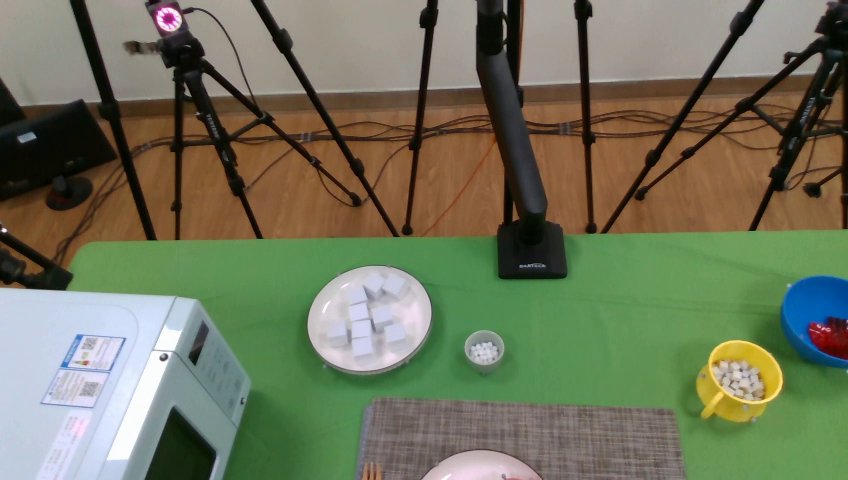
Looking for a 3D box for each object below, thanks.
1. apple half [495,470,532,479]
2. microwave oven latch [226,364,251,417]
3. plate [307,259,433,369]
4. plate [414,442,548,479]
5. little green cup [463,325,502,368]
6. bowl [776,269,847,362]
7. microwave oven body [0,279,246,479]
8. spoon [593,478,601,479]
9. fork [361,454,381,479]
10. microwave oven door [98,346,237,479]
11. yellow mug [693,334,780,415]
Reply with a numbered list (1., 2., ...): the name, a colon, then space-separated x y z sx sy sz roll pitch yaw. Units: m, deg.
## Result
1. apple half: 0.127 0.325 0.790 0.081 0.033 0.081 15 15 -4
2. microwave oven latch: -0.287 0.226 0.919 0.030 0.030 0.078 4 53 7
3. plate: -0.088 0.124 1.006 0.207 0.039 0.205 -3 52 4
4. plate: 0.076 0.371 0.792 0.209 0.038 0.207 -3 52 4
5. little green cup: 0.093 0.170 0.953 0.061 0.039 0.061 -3 52 4
6. bowl: 0.604 0.126 0.915 0.151 0.077 0.150 -3 53 4
7. microwave oven body: -0.461 0.300 0.753 0.326 0.262 0.437 2 53 7
8. spoon: 0.236 0.402 0.763 0.042 0.022 0.191 12 49 -19
9. fork: -0.077 0.389 0.803 0.028 0.019 0.205 2 50 0
10. microwave oven door: -0.321 0.335 0.707 0.039 0.246 0.352 2 52 7
11. yellow mug: 0.440 0.204 0.877 0.131 0.064 0.099 -35 57 -19
